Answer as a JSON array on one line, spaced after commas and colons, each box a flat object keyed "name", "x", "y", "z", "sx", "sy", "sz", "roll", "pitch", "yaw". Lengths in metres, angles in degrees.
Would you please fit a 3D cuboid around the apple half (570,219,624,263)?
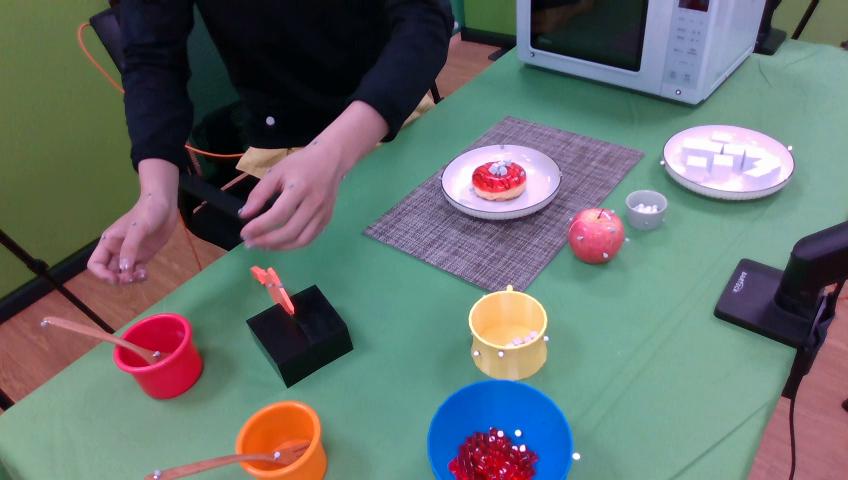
[{"name": "apple half", "x": 0.250, "y": 0.010, "z": 0.885, "sx": 0.081, "sy": 0.081, "sz": 0.033, "roll": 7, "pitch": 39, "yaw": 17}]

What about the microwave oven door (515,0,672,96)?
[{"name": "microwave oven door", "x": 0.343, "y": -0.454, "z": 1.259, "sx": 0.353, "sy": 0.245, "sz": 0.039, "roll": 26, "pitch": 51, "yaw": 33}]

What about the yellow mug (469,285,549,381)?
[{"name": "yellow mug", "x": 0.112, "y": 0.112, "z": 0.792, "sx": 0.100, "sy": 0.064, "sz": 0.130, "roll": 0, "pitch": 40, "yaw": 9}]

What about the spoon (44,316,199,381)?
[{"name": "spoon", "x": -0.385, "y": 0.136, "z": 0.778, "sx": 0.195, "sy": 0.021, "sz": 0.041, "roll": 31, "pitch": 36, "yaw": -24}]

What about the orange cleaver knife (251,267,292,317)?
[{"name": "orange cleaver knife", "x": -0.221, "y": 0.071, "z": 0.873, "sx": 0.012, "sy": 0.077, "sz": 0.210, "roll": -25, "pitch": 11, "yaw": -21}]

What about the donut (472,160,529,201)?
[{"name": "donut", "x": 0.131, "y": -0.105, "z": 1.043, "sx": 0.099, "sy": 0.048, "sz": 0.098, "roll": -5, "pitch": 37, "yaw": 4}]

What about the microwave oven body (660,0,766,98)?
[{"name": "microwave oven body", "x": 0.472, "y": -0.513, "z": 1.317, "sx": 0.438, "sy": 0.261, "sz": 0.327, "roll": 26, "pitch": 51, "yaw": 34}]

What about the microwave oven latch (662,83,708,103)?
[{"name": "microwave oven latch", "x": 0.518, "y": -0.296, "z": 1.204, "sx": 0.078, "sy": 0.029, "sz": 0.030, "roll": 27, "pitch": 52, "yaw": 35}]

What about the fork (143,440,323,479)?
[{"name": "fork", "x": -0.189, "y": 0.231, "z": 0.631, "sx": 0.028, "sy": 0.018, "sz": 0.209, "roll": 38, "pitch": 14, "yaw": 37}]

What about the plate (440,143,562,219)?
[{"name": "plate", "x": 0.134, "y": -0.098, "z": 1.051, "sx": 0.209, "sy": 0.038, "sz": 0.208, "roll": -4, "pitch": 40, "yaw": 4}]

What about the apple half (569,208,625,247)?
[{"name": "apple half", "x": 0.262, "y": -0.014, "z": 0.913, "sx": 0.080, "sy": 0.075, "sz": 0.053, "roll": 4, "pitch": 37, "yaw": 19}]

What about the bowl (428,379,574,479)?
[{"name": "bowl", "x": 0.082, "y": 0.233, "z": 0.644, "sx": 0.151, "sy": 0.077, "sz": 0.150, "roll": -4, "pitch": 40, "yaw": 4}]

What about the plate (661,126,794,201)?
[{"name": "plate", "x": 0.513, "y": -0.127, "z": 1.035, "sx": 0.207, "sy": 0.039, "sz": 0.206, "roll": -4, "pitch": 40, "yaw": 4}]

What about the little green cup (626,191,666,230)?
[{"name": "little green cup", "x": 0.352, "y": -0.046, "z": 0.963, "sx": 0.061, "sy": 0.039, "sz": 0.061, "roll": -4, "pitch": 40, "yaw": 4}]
